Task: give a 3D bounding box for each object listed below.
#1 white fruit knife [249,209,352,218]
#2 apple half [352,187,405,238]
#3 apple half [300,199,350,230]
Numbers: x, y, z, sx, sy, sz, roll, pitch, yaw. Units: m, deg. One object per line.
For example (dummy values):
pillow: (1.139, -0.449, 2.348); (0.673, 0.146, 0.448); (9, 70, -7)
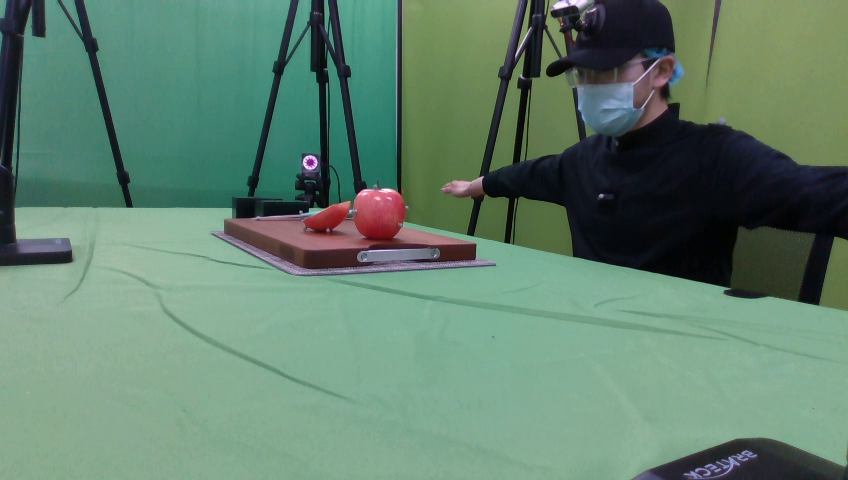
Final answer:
white fruit knife: (-0.220, -0.047, 1.116); (0.208, 0.016, 0.027); (-4, -5, -35)
apple half: (-0.058, -0.038, 0.877); (0.053, 0.074, 0.081); (14, 9, 39)
apple half: (-0.147, -0.035, 0.941); (0.081, 0.033, 0.081); (-22, 1, 1)
